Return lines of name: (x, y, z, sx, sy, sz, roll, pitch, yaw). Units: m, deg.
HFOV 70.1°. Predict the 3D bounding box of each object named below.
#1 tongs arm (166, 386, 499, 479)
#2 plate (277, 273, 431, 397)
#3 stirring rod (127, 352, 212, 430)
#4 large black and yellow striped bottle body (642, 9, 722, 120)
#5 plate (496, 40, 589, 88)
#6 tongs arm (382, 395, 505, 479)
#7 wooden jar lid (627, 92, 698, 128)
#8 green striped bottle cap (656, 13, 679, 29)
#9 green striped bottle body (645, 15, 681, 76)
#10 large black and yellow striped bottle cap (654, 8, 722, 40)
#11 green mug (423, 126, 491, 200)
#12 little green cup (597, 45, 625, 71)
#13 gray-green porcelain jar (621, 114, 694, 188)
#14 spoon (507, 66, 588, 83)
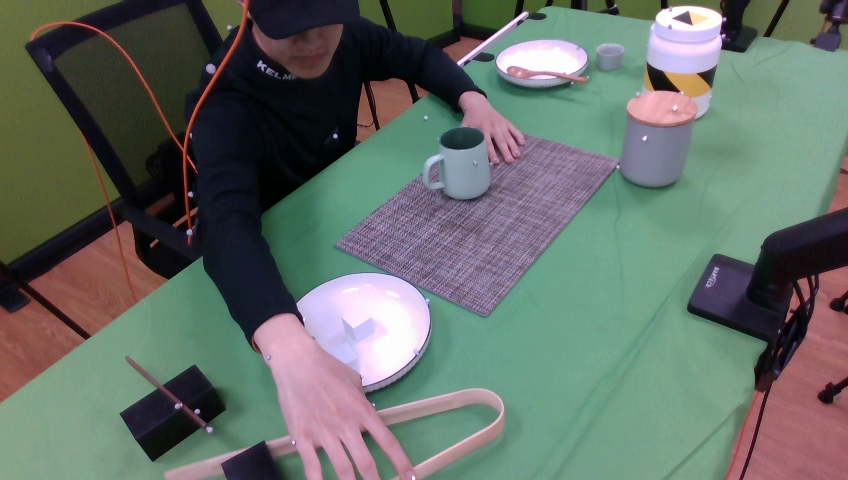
tongs arm: (-0.100, 0.226, 0.706, 0.388, 0.028, 0.028, -12, 29, -7)
plate: (-0.091, 0.129, 0.820, 0.207, 0.039, 0.206, -4, 40, 4)
stirring rod: (-0.311, 0.179, 0.731, 0.175, 0.014, 0.006, 26, 54, 31)
large black and yellow striped bottle body: (0.493, -0.334, 1.161, 0.131, 0.185, 0.130, -4, 41, 4)
plate: (0.269, -0.398, 1.381, 0.209, 0.038, 0.208, -4, 41, 4)
tongs arm: (-0.075, 0.263, 0.647, 0.386, 0.026, 0.050, -19, 34, -16)
wooden jar lid: (0.384, -0.207, 0.979, 0.108, 0.021, 0.108, -6, 39, 5)
green striped bottle cap: (0.515, -0.463, 1.278, 0.044, 0.020, 0.044, -5, 42, 5)
green striped bottle body: (0.520, -0.424, 1.312, 0.063, 0.120, 0.063, -4, 41, 4)
large black and yellow striped bottle cap: (0.483, -0.397, 1.108, 0.115, 0.019, 0.114, -3, 41, 3)
green mug: (0.055, -0.125, 1.039, 0.126, 0.105, 0.091, -25, 44, -18)
little green cup: (0.422, -0.413, 1.375, 0.061, 0.039, 0.061, -3, 41, 3)
gray-green porcelain jar: (0.390, -0.161, 1.020, 0.106, 0.127, 0.105, -4, 41, 4)
spoon: (0.265, -0.357, 1.311, 0.192, 0.022, 0.042, 18, 48, 38)
